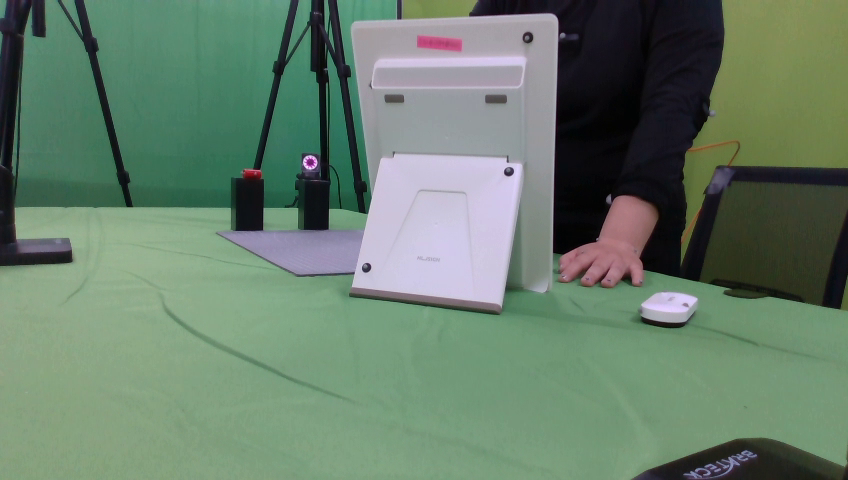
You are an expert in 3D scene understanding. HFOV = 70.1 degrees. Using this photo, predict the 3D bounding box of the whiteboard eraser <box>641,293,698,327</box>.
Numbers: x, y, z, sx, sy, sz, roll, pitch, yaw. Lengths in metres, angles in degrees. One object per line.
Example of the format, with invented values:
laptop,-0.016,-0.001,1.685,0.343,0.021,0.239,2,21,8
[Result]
whiteboard eraser,0.240,0.066,0.590,0.041,0.019,0.102,5,7,32

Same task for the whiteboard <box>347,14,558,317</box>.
whiteboard,0.012,-0.056,0.608,0.216,0.305,0.144,6,27,20

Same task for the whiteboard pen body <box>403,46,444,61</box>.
whiteboard pen body,-0.001,-0.243,0.786,0.017,0.017,0.141,5,20,19

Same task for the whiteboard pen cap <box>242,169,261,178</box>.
whiteboard pen cap,-0.326,-0.126,1.144,0.032,0.017,0.017,-1,8,-37
